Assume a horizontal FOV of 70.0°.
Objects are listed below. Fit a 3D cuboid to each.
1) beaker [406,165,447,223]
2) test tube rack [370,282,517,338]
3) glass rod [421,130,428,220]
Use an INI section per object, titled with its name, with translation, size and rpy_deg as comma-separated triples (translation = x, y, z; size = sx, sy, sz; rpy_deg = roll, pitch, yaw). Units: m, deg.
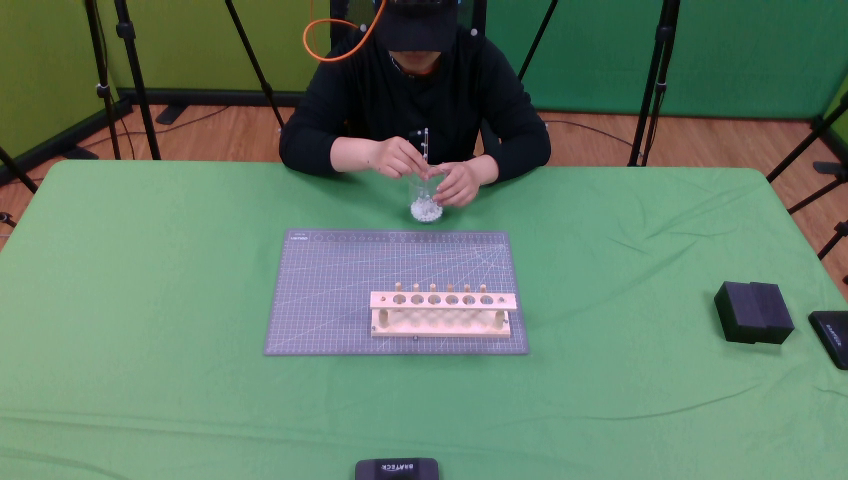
[beaker]
translation = 0.007, -0.091, 1.220
size = 0.084, 0.101, 0.073
rpy_deg = -15, 48, -15
[test tube rack]
translation = 0.030, 0.116, 1.041
size = 0.242, 0.085, 0.066
rpy_deg = 1, 46, -3
[glass rod]
translation = -0.001, -0.122, 1.176
size = 0.008, 0.200, 0.008
rpy_deg = 2, 37, -1
